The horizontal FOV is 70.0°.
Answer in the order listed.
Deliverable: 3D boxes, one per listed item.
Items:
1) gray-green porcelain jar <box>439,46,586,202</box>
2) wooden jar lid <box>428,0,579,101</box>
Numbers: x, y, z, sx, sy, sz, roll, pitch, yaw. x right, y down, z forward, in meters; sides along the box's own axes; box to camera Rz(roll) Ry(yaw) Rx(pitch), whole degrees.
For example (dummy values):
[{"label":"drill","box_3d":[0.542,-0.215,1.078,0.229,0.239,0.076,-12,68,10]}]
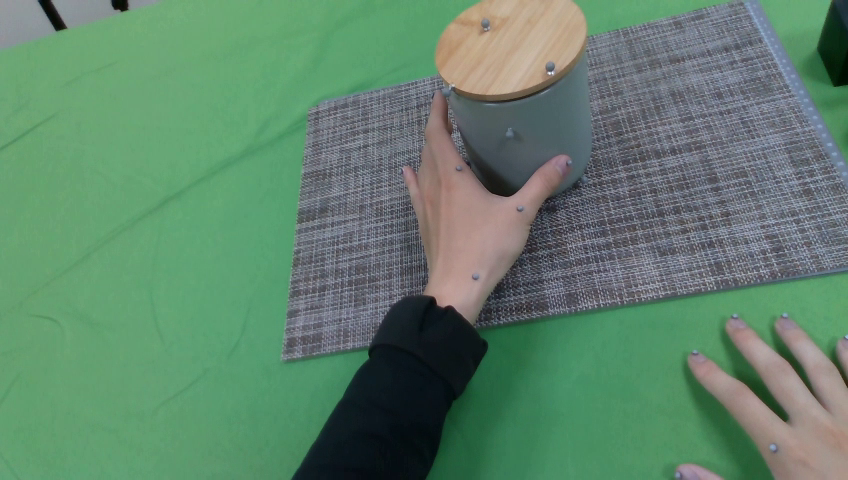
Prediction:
[{"label":"gray-green porcelain jar","box_3d":[0.075,-0.101,0.488,0.105,0.128,0.105,-9,54,13]},{"label":"wooden jar lid","box_3d":[0.057,-0.136,0.437,0.108,0.021,0.107,-8,56,13]}]
